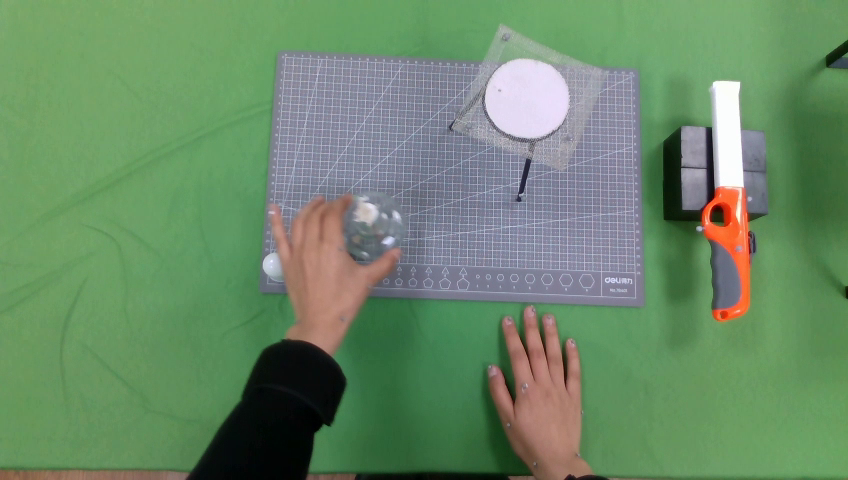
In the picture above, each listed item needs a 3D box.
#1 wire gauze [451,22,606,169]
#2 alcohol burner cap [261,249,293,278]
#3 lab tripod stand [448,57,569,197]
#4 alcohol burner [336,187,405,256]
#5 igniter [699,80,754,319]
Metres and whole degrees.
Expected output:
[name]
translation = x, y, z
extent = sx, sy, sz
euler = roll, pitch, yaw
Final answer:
[wire gauze]
translation = 0.107, -0.145, 0.608
extent = 0.121, 0.011, 0.124
euler = 25, 79, 2
[alcohol burner cap]
translation = -0.168, 0.024, 0.682
extent = 0.034, 0.048, 0.033
euler = 1, 80, -3
[lab tripod stand]
translation = 0.102, -0.136, 0.675
extent = 0.148, 0.132, 0.147
euler = 1, 78, -2
[alcohol burner]
translation = -0.059, -0.023, 0.659
extent = 0.078, 0.119, 0.077
euler = 0, 82, -2
[igniter]
translation = 0.338, -0.049, 0.680
extent = 0.057, 0.025, 0.275
euler = 3, 79, 4
